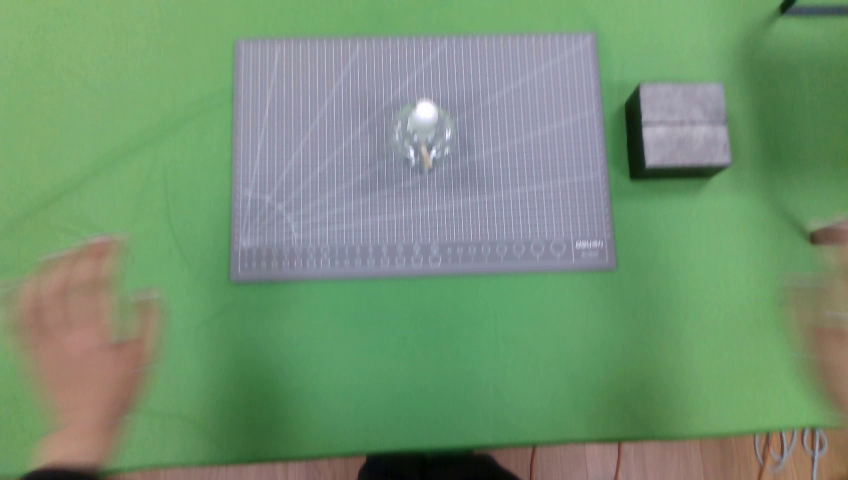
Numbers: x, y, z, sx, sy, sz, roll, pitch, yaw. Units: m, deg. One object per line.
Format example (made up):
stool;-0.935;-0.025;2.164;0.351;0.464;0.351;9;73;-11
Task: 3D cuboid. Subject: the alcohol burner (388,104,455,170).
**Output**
alcohol burner;-0.002;-0.123;0.680;0.078;0.119;0.077;1;78;-4

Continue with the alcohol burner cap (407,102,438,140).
alcohol burner cap;-0.001;-0.128;0.646;0.034;0.048;0.033;1;82;-4
